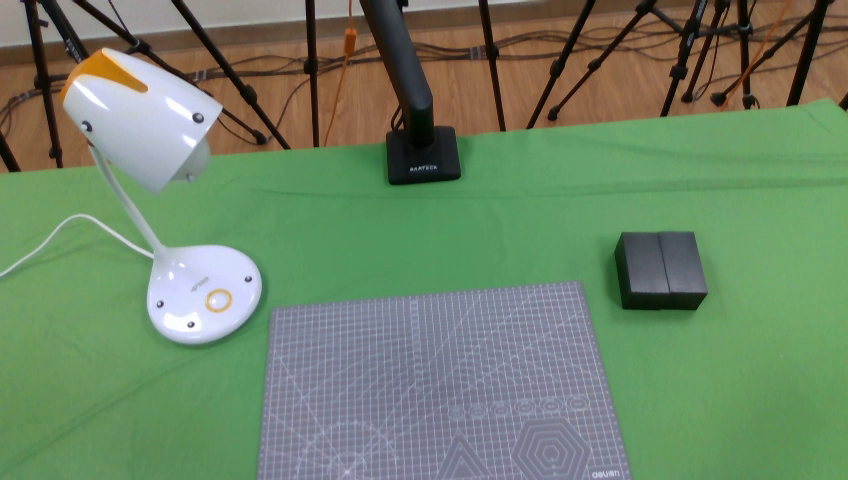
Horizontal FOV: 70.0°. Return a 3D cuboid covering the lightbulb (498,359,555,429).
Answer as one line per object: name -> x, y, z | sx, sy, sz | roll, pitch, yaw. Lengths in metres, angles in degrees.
lightbulb -> 0.127, 0.194, 0.781 | 0.059, 0.060, 0.106 | -20, 40, -11

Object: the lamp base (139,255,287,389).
lamp base -> -0.290, 0.088, 0.796 | 0.179, 0.182, 0.159 | 7, 55, 11

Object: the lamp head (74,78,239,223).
lamp head -> -0.253, -0.089, 0.562 | 0.124, 0.112, 0.111 | 28, 52, -23
